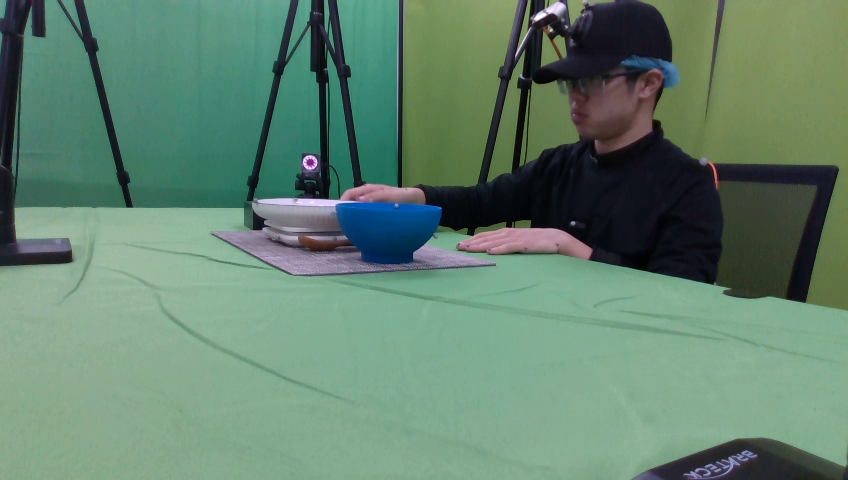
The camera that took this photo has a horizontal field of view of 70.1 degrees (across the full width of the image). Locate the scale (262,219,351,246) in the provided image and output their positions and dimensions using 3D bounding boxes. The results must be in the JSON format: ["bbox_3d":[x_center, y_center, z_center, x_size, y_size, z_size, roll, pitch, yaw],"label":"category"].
[{"bbox_3d":[-0.160,-0.015,1.027,0.202,0.031,0.148,-2,8,-32],"label":"scale"}]

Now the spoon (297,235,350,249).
[{"bbox_3d":[-0.102,0.002,0.942,0.195,0.021,0.041,-1,-6,-31],"label":"spoon"}]

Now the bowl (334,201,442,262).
[{"bbox_3d":[-0.051,-0.012,0.848,0.151,0.077,0.151,2,7,0],"label":"bowl"}]

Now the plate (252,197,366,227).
[{"bbox_3d":[-0.179,-0.047,1.012,0.209,0.038,0.209,2,6,0],"label":"plate"}]
